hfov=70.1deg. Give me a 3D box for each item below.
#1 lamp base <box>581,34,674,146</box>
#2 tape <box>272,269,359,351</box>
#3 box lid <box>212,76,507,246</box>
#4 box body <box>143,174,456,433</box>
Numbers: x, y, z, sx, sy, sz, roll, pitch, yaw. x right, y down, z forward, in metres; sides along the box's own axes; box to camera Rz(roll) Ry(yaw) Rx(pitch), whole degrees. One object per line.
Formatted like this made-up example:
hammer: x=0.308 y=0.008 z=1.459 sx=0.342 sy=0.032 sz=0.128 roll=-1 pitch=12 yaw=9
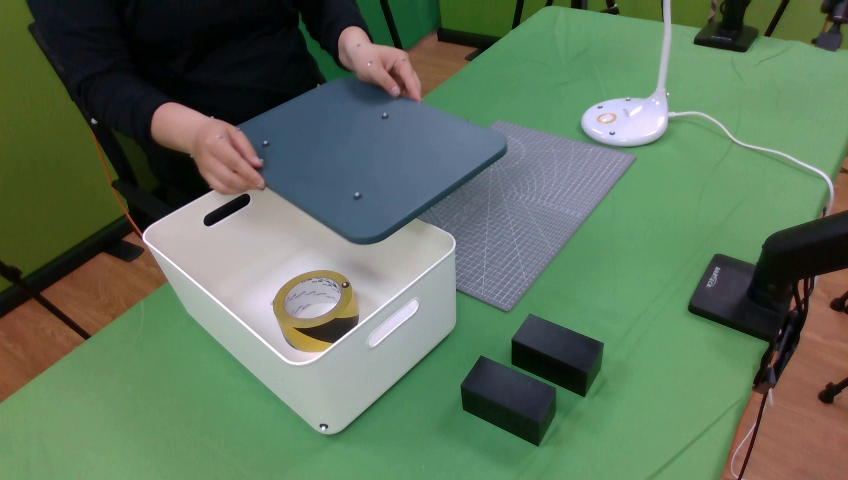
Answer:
lamp base: x=0.392 y=-0.291 z=1.129 sx=0.180 sy=0.181 sz=0.159 roll=-11 pitch=41 yaw=-8
tape: x=-0.150 y=0.097 z=0.844 sx=0.117 sy=0.053 sz=0.116 roll=-4 pitch=41 yaw=4
box lid: x=-0.097 y=-0.128 z=0.827 sx=0.264 sy=0.015 sz=0.368 roll=-36 pitch=47 yaw=-28
box body: x=-0.158 y=0.054 z=0.819 sx=0.361 sy=0.161 sz=0.255 roll=29 pitch=52 yaw=34
